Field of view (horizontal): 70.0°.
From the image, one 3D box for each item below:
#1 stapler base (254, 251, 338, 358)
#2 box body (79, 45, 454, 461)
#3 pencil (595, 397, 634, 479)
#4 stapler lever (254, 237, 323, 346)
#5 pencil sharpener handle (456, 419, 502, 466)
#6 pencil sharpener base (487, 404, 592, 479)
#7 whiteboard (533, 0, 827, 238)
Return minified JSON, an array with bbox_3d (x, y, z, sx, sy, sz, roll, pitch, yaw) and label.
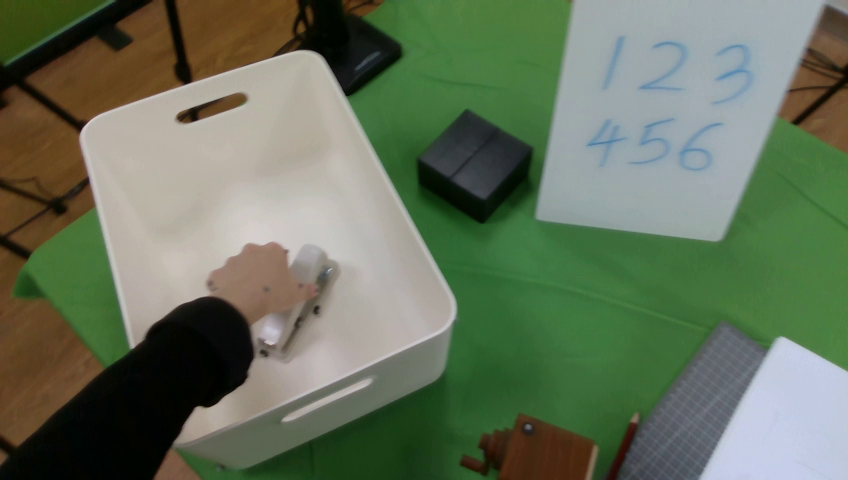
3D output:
[{"bbox_3d":[-0.139,0.062,0.659,0.041,0.024,0.130,17,64,17],"label":"stapler base"},{"bbox_3d":[-0.155,0.007,0.617,0.254,0.161,0.360,-23,63,-11],"label":"box body"},{"bbox_3d":[0.163,0.232,0.571,0.012,0.012,0.193,26,65,15],"label":"pencil"},{"bbox_3d":[-0.142,0.050,0.635,0.026,0.040,0.117,17,65,17],"label":"stapler lever"},{"bbox_3d":[0.046,0.178,0.536,0.030,0.068,0.036,18,46,12],"label":"pencil sharpener handle"},{"bbox_3d":[0.096,0.197,0.539,0.076,0.108,0.061,18,63,12],"label":"pencil sharpener base"},{"bbox_3d":[0.253,-0.174,0.667,0.217,0.308,0.142,8,42,6],"label":"whiteboard"}]
